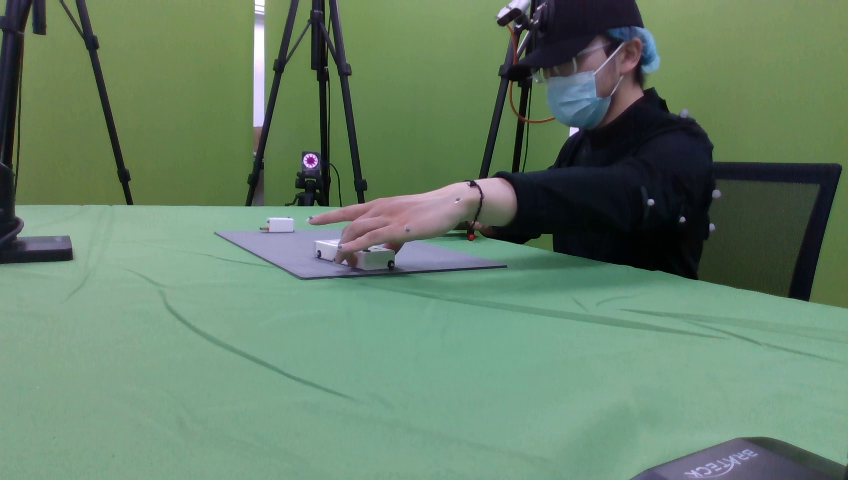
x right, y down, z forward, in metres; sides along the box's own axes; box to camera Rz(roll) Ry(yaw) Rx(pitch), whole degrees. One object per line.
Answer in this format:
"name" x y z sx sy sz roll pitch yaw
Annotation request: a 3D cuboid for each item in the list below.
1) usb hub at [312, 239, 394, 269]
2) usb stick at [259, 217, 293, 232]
"usb hub" -0.097 0.017 0.804 0.050 0.025 0.124 -3 8 -41
"usb stick" -0.268 -0.028 1.094 0.059 0.027 0.021 -5 12 -32
